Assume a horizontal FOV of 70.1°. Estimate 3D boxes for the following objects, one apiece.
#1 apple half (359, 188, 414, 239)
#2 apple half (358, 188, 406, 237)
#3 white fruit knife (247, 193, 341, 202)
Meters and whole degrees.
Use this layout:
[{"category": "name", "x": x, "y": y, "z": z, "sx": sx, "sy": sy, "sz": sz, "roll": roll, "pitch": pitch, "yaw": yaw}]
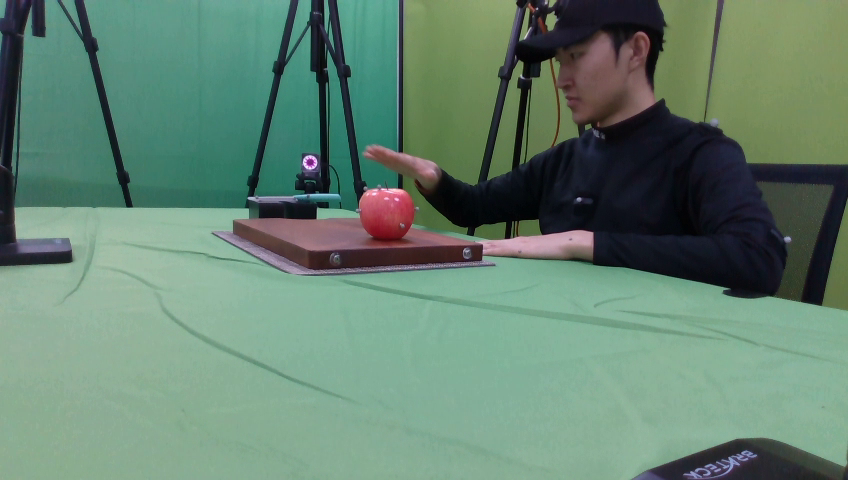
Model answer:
[{"category": "apple half", "x": -0.049, "y": -0.037, "z": 0.870, "sx": 0.081, "sy": 0.074, "sz": 0.053, "roll": 3, "pitch": 10, "yaw": -30}, {"category": "apple half", "x": -0.068, "y": -0.043, "z": 0.904, "sx": 0.082, "sy": 0.081, "sz": 0.032, "roll": -1, "pitch": 10, "yaw": -29}, {"category": "white fruit knife", "x": -0.271, "y": -0.088, "z": 1.283, "sx": 0.208, "sy": 0.016, "sz": 0.027, "roll": -3, "pitch": -20, "yaw": -31}]
